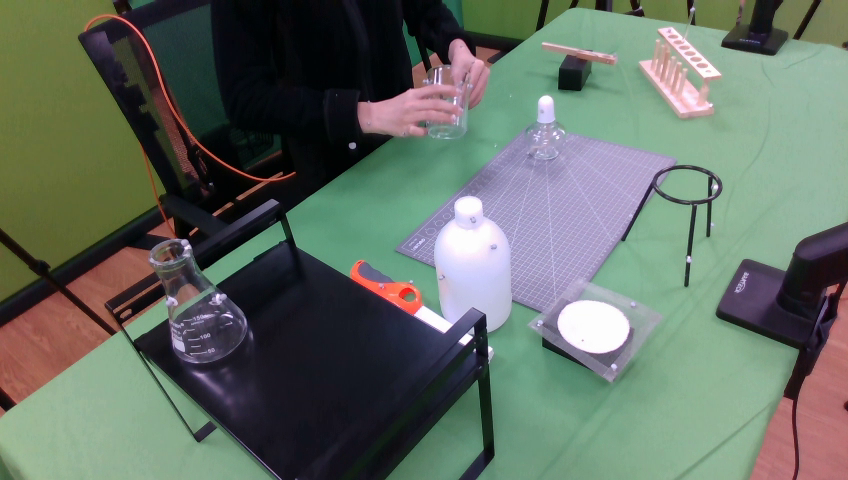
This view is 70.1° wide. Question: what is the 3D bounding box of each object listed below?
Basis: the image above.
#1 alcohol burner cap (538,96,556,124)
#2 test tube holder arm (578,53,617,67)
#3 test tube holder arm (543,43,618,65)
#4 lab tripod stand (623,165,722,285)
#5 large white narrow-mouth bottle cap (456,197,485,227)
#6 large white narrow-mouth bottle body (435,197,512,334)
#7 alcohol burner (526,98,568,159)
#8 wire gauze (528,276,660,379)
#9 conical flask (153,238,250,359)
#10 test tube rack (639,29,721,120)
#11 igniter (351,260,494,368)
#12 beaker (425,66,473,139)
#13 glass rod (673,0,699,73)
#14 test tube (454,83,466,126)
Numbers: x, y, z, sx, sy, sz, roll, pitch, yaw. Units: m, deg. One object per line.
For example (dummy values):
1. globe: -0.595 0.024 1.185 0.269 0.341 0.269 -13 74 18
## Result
1. alcohol burner cap: 0.222 -0.237 1.095 0.034 0.048 0.033 -7 35 5
2. test tube holder arm: 0.376 -0.393 1.314 0.087 0.015 0.010 26 51 32
3. test tube holder arm: 0.344 -0.413 1.340 0.177 0.015 0.013 25 51 31
4. lab tripod stand: 0.365 -0.030 0.875 0.148 0.132 0.147 -6 41 6
5. large white narrow-mouth bottle cap: 0.057 -0.035 0.750 0.038 0.024 0.037 -4 40 4
6. large white narrow-mouth bottle body: 0.066 0.028 0.805 0.102 0.195 0.101 -4 40 4
7. alcohol burner: 0.228 -0.210 1.118 0.078 0.119 0.077 -5 43 5
8. wire gauze: 0.214 0.103 0.763 0.124 0.011 0.122 30 52 35
9. conical flask: -0.225 0.055 0.597 0.075 0.122 0.075 -5 41 4
10. test tube rack: 0.527 -0.351 1.262 0.067 0.085 0.241 -8 40 1
11. igniter: -0.013 0.098 0.864 0.274 0.025 0.057 30 66 36
12. beaker: 0.040 -0.223 0.998 0.074 0.084 0.100 4 81 4
13. glass rod: 0.538 -0.425 1.244 0.008 0.200 0.008 0 47 0
14. test tube: 0.067 -0.247 1.114 0.017 0.151 0.017 -1 76 6
